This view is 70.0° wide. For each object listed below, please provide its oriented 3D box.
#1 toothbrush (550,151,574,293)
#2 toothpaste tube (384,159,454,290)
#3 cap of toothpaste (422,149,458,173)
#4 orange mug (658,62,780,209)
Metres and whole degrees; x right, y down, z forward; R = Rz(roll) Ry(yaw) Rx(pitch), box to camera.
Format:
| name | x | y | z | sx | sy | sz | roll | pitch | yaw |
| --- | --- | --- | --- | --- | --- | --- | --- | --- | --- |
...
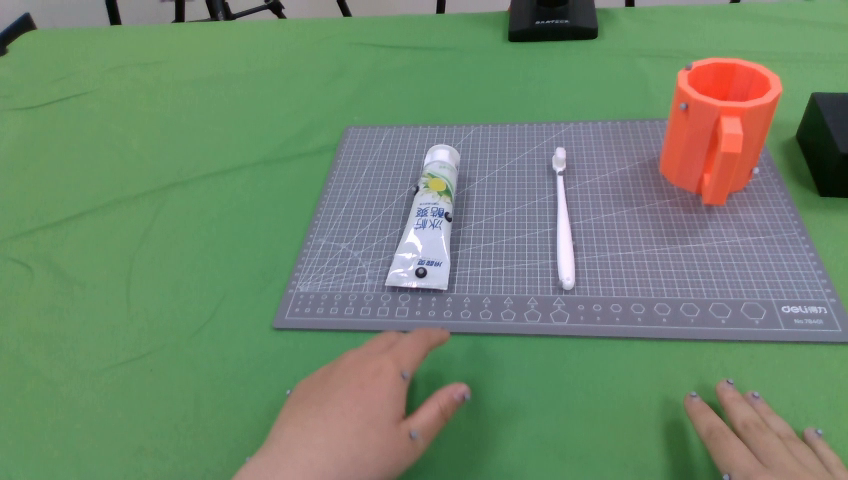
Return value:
| name | x | y | z | sx | sy | sz | roll | pitch | yaw |
| --- | --- | --- | --- | --- | --- | --- | --- | --- | --- |
| toothbrush | 0.128 | -0.023 | 0.558 | 0.014 | 0.017 | 0.180 | 10 | 46 | -1 |
| toothpaste tube | 0.003 | -0.020 | 0.564 | 0.055 | 0.035 | 0.163 | -1 | 46 | 12 |
| cap of toothpaste | 0.016 | -0.076 | 0.615 | 0.037 | 0.038 | 0.011 | 3 | 48 | 10 |
| orange mug | 0.265 | -0.091 | 0.552 | 0.083 | 0.102 | 0.125 | 6 | 41 | 14 |
